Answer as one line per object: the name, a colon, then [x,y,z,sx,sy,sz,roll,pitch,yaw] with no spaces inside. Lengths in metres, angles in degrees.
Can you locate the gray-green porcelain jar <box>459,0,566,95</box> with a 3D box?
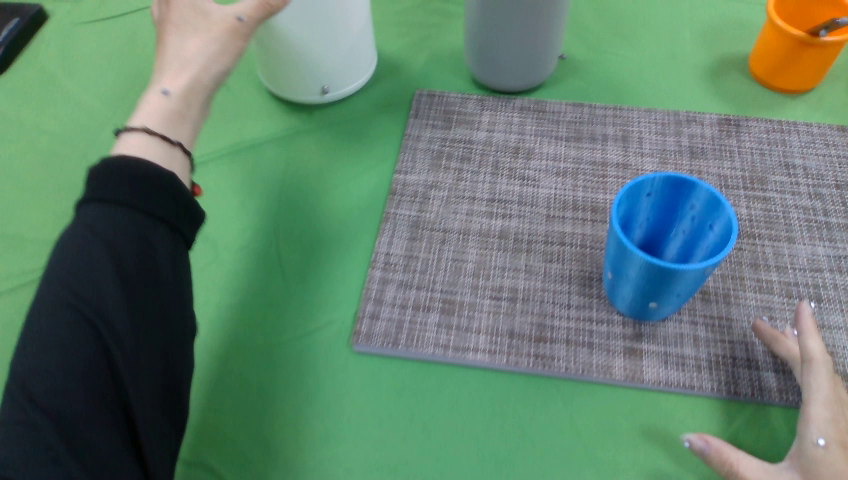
gray-green porcelain jar: [0.088,-0.223,0.619,0.106,0.127,0.105,-1,56,2]

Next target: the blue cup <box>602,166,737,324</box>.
blue cup: [0.176,0.015,0.461,0.092,0.101,0.092,-2,54,3]

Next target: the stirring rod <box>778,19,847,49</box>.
stirring rod: [0.370,-0.196,0.583,0.014,0.006,0.176,11,14,16]

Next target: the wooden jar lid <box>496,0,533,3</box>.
wooden jar lid: [0.086,-0.258,0.568,0.108,0.021,0.107,-2,54,3]

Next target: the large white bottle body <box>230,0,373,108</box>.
large white bottle body: [-0.124,-0.241,0.603,0.130,0.186,0.129,-1,55,2]
